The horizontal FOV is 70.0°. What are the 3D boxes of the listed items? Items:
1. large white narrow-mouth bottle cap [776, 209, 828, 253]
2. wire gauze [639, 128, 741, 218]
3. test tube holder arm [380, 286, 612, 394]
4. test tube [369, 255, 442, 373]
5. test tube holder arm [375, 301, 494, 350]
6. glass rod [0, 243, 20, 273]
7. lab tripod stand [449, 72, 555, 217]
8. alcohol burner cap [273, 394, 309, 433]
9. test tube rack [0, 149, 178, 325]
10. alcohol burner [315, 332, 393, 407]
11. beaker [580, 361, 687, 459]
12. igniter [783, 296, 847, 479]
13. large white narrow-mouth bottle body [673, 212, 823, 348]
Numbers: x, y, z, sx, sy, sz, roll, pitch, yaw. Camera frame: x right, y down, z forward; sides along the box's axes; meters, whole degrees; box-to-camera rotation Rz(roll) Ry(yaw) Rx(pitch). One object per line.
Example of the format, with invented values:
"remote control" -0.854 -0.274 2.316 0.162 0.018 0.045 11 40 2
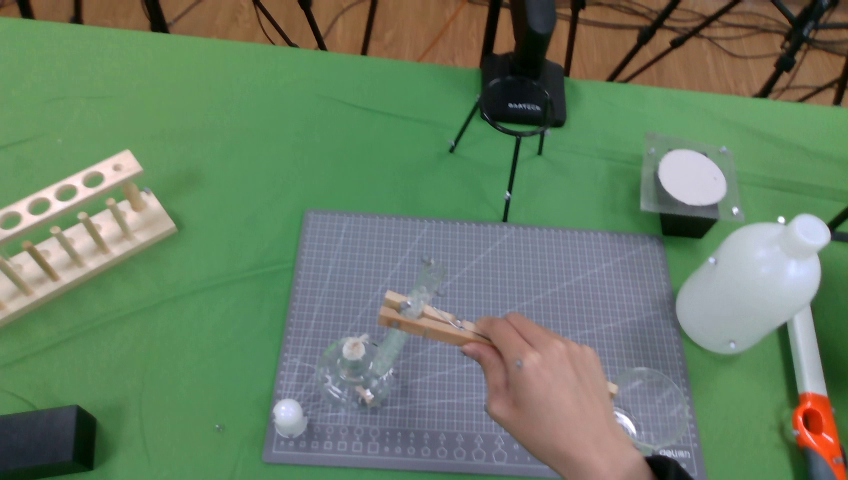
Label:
"large white narrow-mouth bottle cap" 0.352 -0.009 0.566 0.038 0.024 0.037 2 59 -3
"wire gauze" 0.330 -0.083 0.758 0.121 0.011 0.124 11 59 1
"test tube holder arm" 0.052 0.073 0.441 0.178 0.015 0.013 21 51 2
"test tube" -0.018 0.061 0.450 0.017 0.151 0.017 12 49 -13
"test tube holder arm" 0.008 0.062 0.437 0.088 0.015 0.010 15 50 -3
"glass rod" -0.436 -0.027 0.588 0.008 0.201 0.008 4 50 -4
"lab tripod stand" 0.103 -0.123 0.745 0.148 0.132 0.147 3 61 -5
"alcohol burner cap" -0.133 0.171 0.600 0.034 0.048 0.033 2 61 -2
"test tube rack" -0.402 0.004 0.650 0.242 0.086 0.066 -33 68 -22
"alcohol burner" -0.068 0.121 0.594 0.078 0.120 0.077 3 58 -5
"beaker" 0.198 0.171 0.598 0.084 0.101 0.073 1 59 -3
"igniter" 0.424 0.174 0.663 0.057 0.025 0.274 16 59 -8
"large white narrow-mouth bottle body" 0.346 0.036 0.638 0.102 0.196 0.101 2 59 -3
